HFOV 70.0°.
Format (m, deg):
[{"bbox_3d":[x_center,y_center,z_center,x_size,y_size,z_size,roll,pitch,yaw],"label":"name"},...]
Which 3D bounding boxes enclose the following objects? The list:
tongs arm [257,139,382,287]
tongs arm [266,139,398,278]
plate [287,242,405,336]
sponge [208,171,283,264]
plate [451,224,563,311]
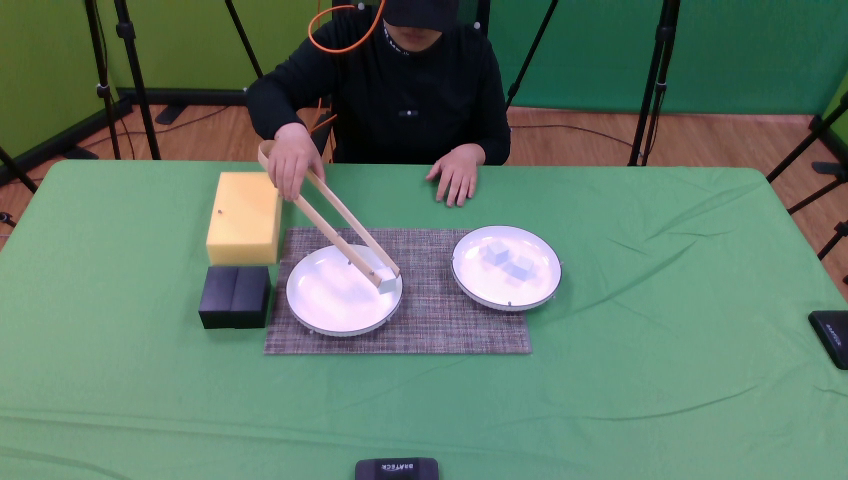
[{"bbox_3d":[-0.191,-0.057,1.092,0.383,0.026,0.051,42,48,21],"label":"tongs arm"},{"bbox_3d":[-0.172,-0.065,1.108,0.028,0.028,0.385,-28,61,-34],"label":"tongs arm"},{"bbox_3d":[-0.138,0.090,1.084,0.208,0.039,0.206,2,46,-2],"label":"plate"},{"bbox_3d":[-0.345,-0.048,1.191,0.118,0.061,0.205,-2,46,-6],"label":"sponge"},{"bbox_3d":[0.154,0.053,1.140,0.209,0.038,0.208,2,46,-2],"label":"plate"}]
